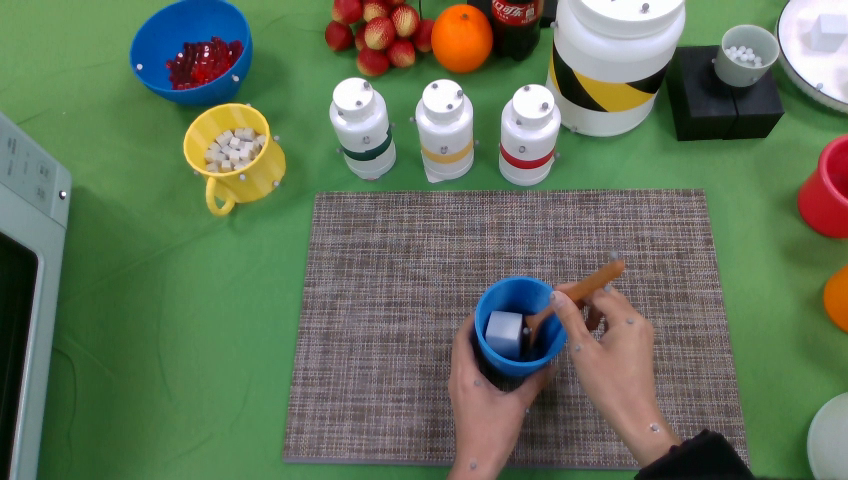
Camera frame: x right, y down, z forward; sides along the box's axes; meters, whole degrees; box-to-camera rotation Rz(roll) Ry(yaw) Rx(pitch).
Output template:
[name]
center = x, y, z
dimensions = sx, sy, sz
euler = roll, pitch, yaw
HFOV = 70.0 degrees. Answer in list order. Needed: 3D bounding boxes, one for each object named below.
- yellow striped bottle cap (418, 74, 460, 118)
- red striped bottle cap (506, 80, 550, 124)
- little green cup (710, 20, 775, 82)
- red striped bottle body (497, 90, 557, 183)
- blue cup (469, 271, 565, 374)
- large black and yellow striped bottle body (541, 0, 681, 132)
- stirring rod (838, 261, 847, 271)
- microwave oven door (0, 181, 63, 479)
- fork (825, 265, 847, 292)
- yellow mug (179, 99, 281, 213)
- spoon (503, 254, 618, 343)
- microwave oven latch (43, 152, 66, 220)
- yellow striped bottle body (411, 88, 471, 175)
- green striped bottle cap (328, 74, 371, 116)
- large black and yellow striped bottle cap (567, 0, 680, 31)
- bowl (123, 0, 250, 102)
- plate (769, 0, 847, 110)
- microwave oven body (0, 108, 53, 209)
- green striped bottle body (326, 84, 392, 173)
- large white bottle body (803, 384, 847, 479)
[yellow striped bottle cap]
center = 0.016, -0.151, 0.632
dimensions = 0.044, 0.019, 0.044
euler = -1, 68, 3
[red striped bottle cap]
center = 0.107, -0.142, 0.621
dimensions = 0.044, 0.018, 0.044
euler = 0, 65, 0
[little green cup]
center = 0.353, -0.209, 0.679
dimensions = 0.061, 0.039, 0.061
euler = -1, 65, 3
[red striped bottle body]
center = 0.113, -0.120, 0.668
dimensions = 0.063, 0.121, 0.062
euler = -3, 64, 7
[blue cup]
center = 0.088, 0.089, 0.585
dimensions = 0.092, 0.101, 0.092
euler = -2, 65, 5
[large black and yellow striped bottle body]
center = 0.203, -0.222, 0.671
dimensions = 0.131, 0.185, 0.130
euler = -2, 66, 4
[stirring rod]
center = 0.442, 0.057, 0.554
dimensions = 0.014, 0.006, 0.175
euler = -6, 23, 0
[microwave oven door]
center = -0.422, 0.095, 0.529
dimensions = 0.039, 0.246, 0.352
euler = -9, 66, 1
[fork]
center = 0.470, 0.058, 0.546
dimensions = 0.028, 0.019, 0.205
euler = -34, 24, -15
[yellow mug]
center = -0.231, -0.093, 0.712
dimensions = 0.100, 0.064, 0.130
euler = 9, 68, 7
[spoon]
center = 0.114, 0.059, 0.545
dimensions = 0.022, 0.194, 0.041
euler = -5, 66, -20
[microwave oven latch]
center = -0.442, -0.062, 0.710
dimensions = 0.030, 0.030, 0.078
euler = -7, 67, 1
[yellow striped bottle body]
center = 0.020, -0.129, 0.679
dimensions = 0.063, 0.121, 0.062
euler = -2, 66, 5
[green striped bottle cap]
center = -0.079, -0.154, 0.641
dimensions = 0.044, 0.020, 0.044
euler = -1, 65, 3
[large black and yellow striped bottle cap]
center = 0.196, -0.255, 0.594
dimensions = 0.115, 0.019, 0.114
euler = -2, 65, 4
[bowl]
center = -0.287, -0.229, 0.770
dimensions = 0.151, 0.077, 0.150
euler = -1, 66, 3
[plate]
center = 0.523, -0.237, 0.733
dimensions = 0.209, 0.038, 0.207
euler = -1, 67, 4
[microwave oven body]
center = -0.571, 0.081, 0.551
dimensions = 0.326, 0.262, 0.438
euler = -9, 66, 0
[green striped bottle body]
center = -0.074, -0.133, 0.688
dimensions = 0.063, 0.120, 0.062
euler = -2, 66, 4
[large white bottle body]
center = 0.412, 0.163, 0.485
dimensions = 0.130, 0.186, 0.129
euler = -2, 65, 4
